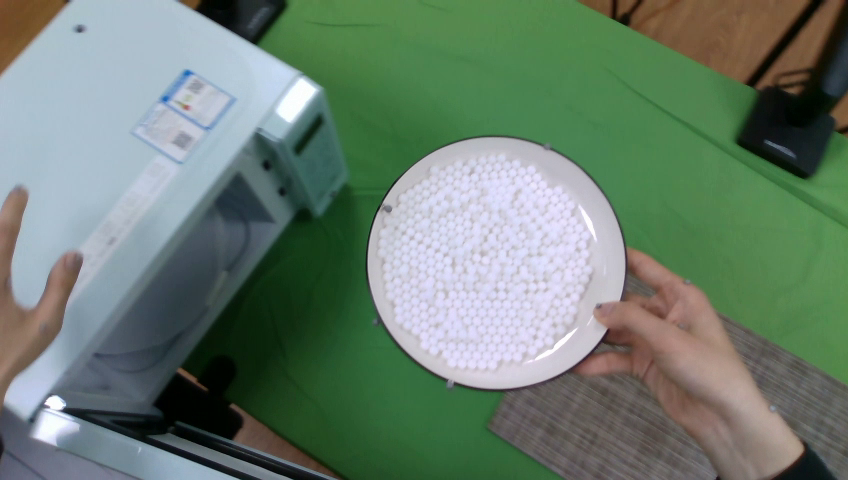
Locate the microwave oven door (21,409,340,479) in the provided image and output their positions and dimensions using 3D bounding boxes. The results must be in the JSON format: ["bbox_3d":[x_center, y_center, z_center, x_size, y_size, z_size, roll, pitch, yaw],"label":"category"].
[{"bbox_3d":[-0.193,0.252,0.644,0.355,0.245,0.039,18,73,4],"label":"microwave oven door"}]

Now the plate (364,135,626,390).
[{"bbox_3d":[0.056,0.016,0.494,0.209,0.038,0.208,0,75,0],"label":"plate"}]

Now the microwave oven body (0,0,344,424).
[{"bbox_3d":[-0.360,-0.041,0.737,0.325,0.261,0.440,32,76,8],"label":"microwave oven body"}]

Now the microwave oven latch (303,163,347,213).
[{"bbox_3d":[-0.141,-0.078,0.853,0.030,0.029,0.079,35,76,9],"label":"microwave oven latch"}]
